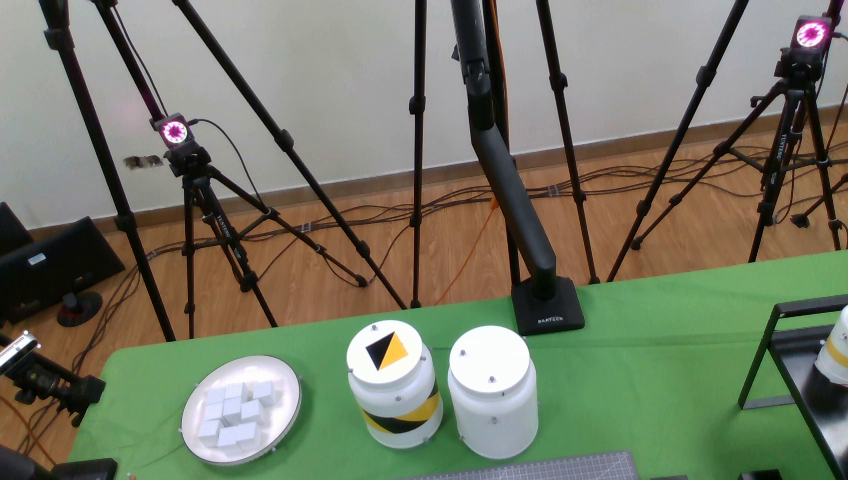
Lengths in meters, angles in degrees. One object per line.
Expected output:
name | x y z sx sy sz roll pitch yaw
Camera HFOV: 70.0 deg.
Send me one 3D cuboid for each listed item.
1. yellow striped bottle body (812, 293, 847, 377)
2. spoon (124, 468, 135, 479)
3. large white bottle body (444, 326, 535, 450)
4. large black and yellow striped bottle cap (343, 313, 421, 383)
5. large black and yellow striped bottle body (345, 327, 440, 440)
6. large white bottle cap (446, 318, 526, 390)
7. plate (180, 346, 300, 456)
yellow striped bottle body | 0.523 0.108 0.733 0.063 0.121 0.062 -6 45 6
spoon | -0.453 0.416 0.872 0.041 0.022 0.194 28 100 36
large white bottle body | 0.101 0.220 0.922 0.130 0.186 0.129 -6 45 6
large black and yellow striped bottle cap | -0.063 0.158 0.898 0.115 0.019 0.114 -5 46 5
large black and yellow striped bottle body | -0.050 0.218 0.956 0.130 0.186 0.129 -6 45 6
large white bottle cap | 0.088 0.160 0.863 0.115 0.018 0.113 -5 44 6
plate | -0.315 0.281 1.054 0.207 0.039 0.205 -6 45 6
